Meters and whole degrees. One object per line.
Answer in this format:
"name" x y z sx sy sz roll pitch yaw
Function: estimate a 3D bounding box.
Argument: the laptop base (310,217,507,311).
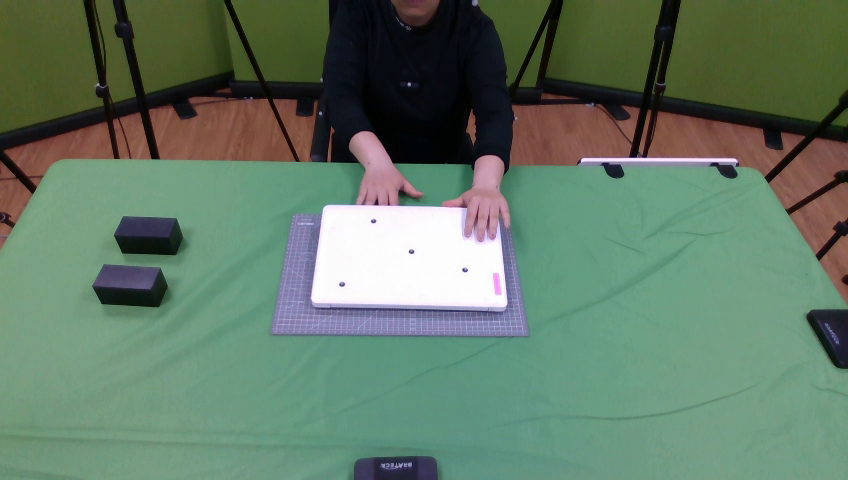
"laptop base" -0.028 0.044 1.154 0.354 0.023 0.234 2 42 -3

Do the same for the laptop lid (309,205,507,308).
"laptop lid" -0.027 0.025 1.137 0.357 0.013 0.240 3 51 -2
